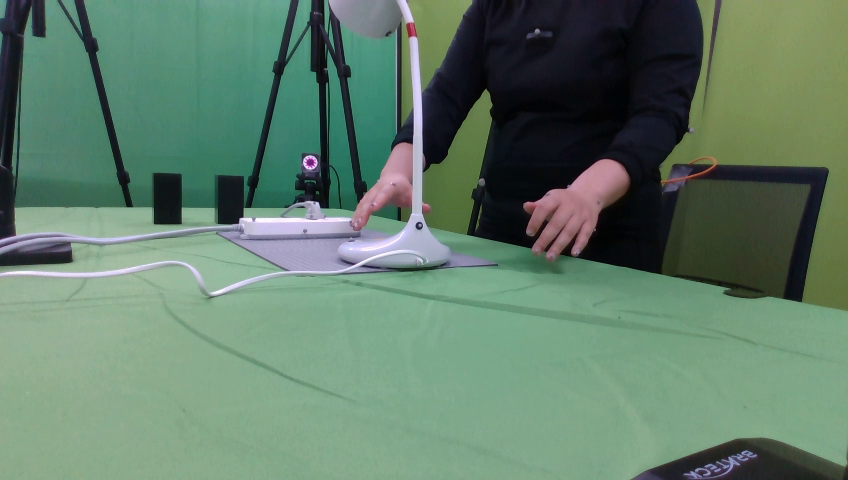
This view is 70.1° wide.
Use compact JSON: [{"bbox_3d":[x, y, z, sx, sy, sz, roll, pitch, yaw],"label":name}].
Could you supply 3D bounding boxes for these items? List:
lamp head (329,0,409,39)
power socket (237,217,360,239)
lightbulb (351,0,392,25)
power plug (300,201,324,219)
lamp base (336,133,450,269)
[{"bbox_3d":[-0.062,-0.357,0.841,0.113,0.112,0.122,-1,-14,-29],"label":"lamp head"},{"bbox_3d":[-0.220,-0.023,1.080,0.228,0.032,0.072,-2,8,-33],"label":"power socket"},{"bbox_3d":[-0.069,-0.354,0.866,0.060,0.059,0.107,0,-20,-21],"label":"lightbulb"},{"bbox_3d":[-0.207,-0.046,1.120,0.035,0.052,0.072,1,4,-22],"label":"power plug"},{"bbox_3d":[-0.032,-0.057,0.830,0.161,0.180,0.178,-2,11,-34],"label":"lamp base"}]
